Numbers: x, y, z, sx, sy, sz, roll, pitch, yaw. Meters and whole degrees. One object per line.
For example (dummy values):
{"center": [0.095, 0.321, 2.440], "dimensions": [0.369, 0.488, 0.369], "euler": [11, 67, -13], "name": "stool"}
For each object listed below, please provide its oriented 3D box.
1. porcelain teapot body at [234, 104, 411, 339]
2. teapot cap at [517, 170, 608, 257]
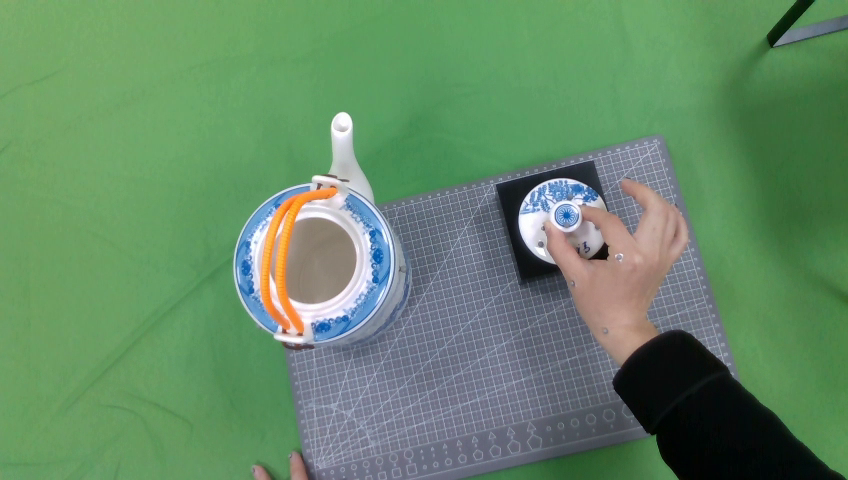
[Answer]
{"center": [-0.089, -0.013, 0.552], "dimensions": [0.145, 0.226, 0.204], "euler": [8, 81, 7], "name": "porcelain teapot body"}
{"center": [0.130, -0.026, 0.568], "dimensions": [0.085, 0.044, 0.085], "euler": [-1, 78, 7], "name": "teapot cap"}
